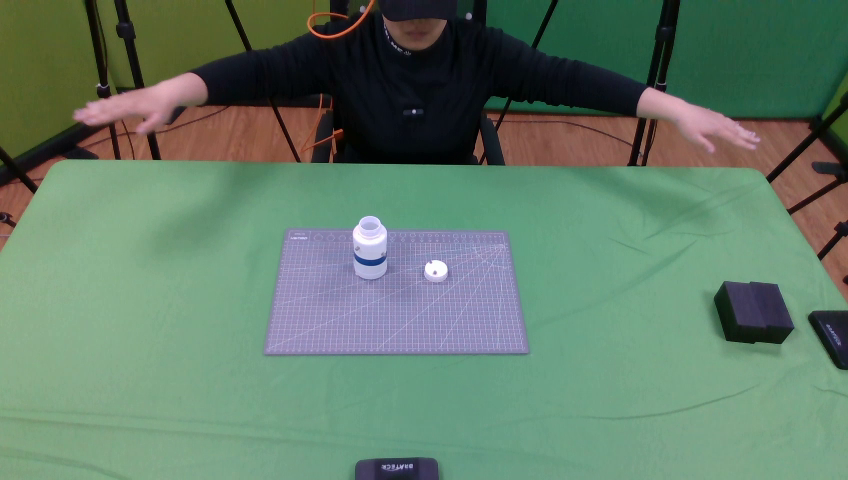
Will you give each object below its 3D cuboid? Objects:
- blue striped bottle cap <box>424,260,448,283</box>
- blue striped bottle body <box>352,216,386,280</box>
[{"bbox_3d":[0.022,0.060,1.145,0.044,0.021,0.044,2,47,-2],"label":"blue striped bottle cap"},{"bbox_3d":[-0.100,0.012,1.107,0.063,0.121,0.062,2,46,-2],"label":"blue striped bottle body"}]
